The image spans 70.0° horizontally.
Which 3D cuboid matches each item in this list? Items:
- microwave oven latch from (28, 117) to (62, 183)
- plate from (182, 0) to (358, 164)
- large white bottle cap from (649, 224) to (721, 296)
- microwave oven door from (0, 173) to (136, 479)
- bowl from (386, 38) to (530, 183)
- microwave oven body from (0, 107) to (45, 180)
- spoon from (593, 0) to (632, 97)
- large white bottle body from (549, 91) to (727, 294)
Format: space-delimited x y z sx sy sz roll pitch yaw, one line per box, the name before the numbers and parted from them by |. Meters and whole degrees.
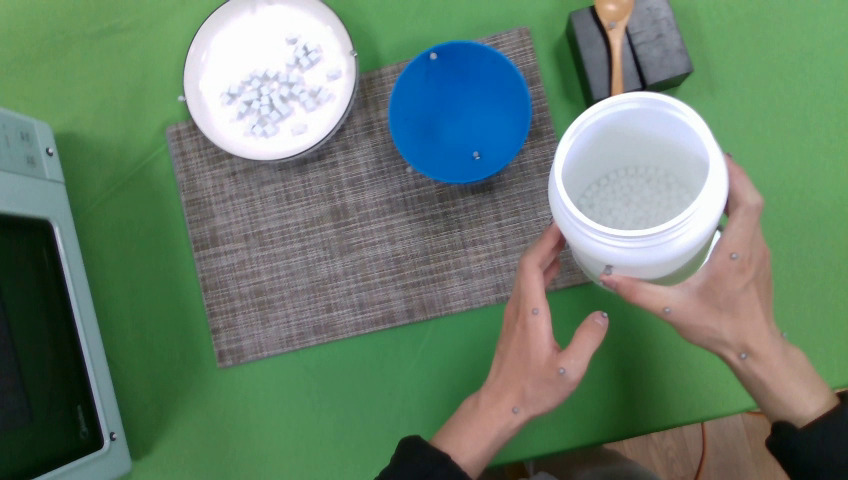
microwave oven latch | -0.461 -0.104 0.724 0.030 0.029 0.079 -16 87 5
plate | -0.177 -0.188 0.711 0.209 0.038 0.208 -1 85 7
large white bottle cap | 0.266 0.005 0.667 0.115 0.018 0.114 0 88 6
microwave oven door | -0.416 0.100 0.609 0.039 0.244 0.355 -17 86 6
bowl | 0.039 -0.132 0.663 0.151 0.077 0.151 0 88 7
microwave oven body | -0.566 0.101 0.630 0.326 0.260 0.441 -16 87 5
spoon | 0.199 -0.184 0.635 0.041 0.021 0.194 -2 93 3
large white bottle body | 0.176 -0.033 0.506 0.130 0.186 0.130 -5 74 19
